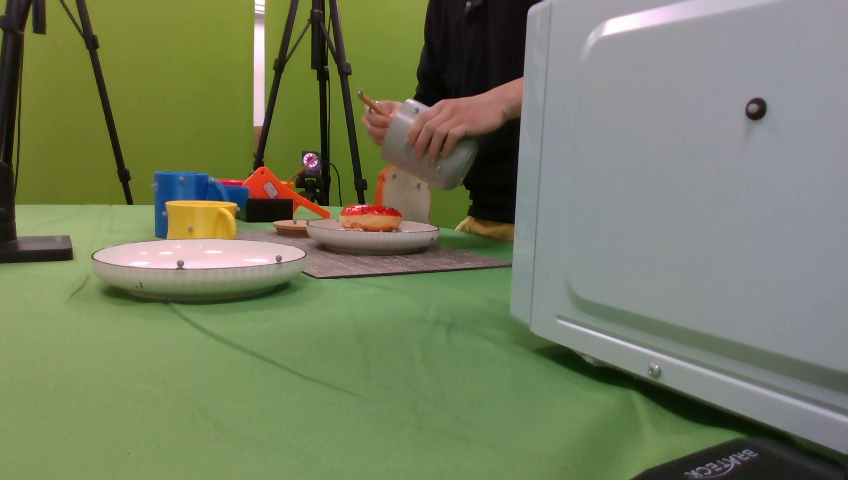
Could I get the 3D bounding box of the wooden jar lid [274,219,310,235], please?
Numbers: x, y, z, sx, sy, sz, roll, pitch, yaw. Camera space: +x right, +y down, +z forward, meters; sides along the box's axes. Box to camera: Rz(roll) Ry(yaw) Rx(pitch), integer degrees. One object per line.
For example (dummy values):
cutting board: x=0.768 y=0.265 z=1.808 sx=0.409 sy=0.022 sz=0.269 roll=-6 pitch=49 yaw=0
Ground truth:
wooden jar lid: x=-0.213 y=-0.023 z=1.080 sx=0.108 sy=0.020 sz=0.108 roll=3 pitch=7 yaw=0

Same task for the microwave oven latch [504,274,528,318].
microwave oven latch: x=0.100 y=0.041 z=0.471 sx=0.079 sy=0.029 sz=0.030 roll=-1 pitch=8 yaw=-28

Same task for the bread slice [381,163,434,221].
bread slice: x=-0.034 y=-0.076 z=1.124 sx=0.107 sy=0.134 sz=0.018 roll=-4 pitch=1 yaw=-25

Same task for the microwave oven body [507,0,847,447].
microwave oven body: x=0.331 y=-0.042 z=0.425 sx=0.444 sy=0.260 sz=0.324 roll=-2 pitch=8 yaw=-31

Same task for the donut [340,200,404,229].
donut: x=-0.081 y=-0.038 z=0.944 sx=0.099 sy=0.048 sz=0.099 roll=1 pitch=4 yaw=0

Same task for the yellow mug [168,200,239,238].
yellow mug: x=-0.319 y=-0.023 z=0.904 sx=0.130 sy=0.064 sz=0.100 roll=9 pitch=11 yaw=36

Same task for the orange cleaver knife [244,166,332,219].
orange cleaver knife: x=-0.301 y=-0.089 z=1.351 sx=0.212 sy=0.077 sz=0.012 roll=32 pitch=-11 yaw=-34

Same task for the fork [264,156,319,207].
fork: x=-0.331 y=-0.144 z=1.506 sx=0.207 sy=0.018 sz=0.028 roll=-42 pitch=-20 yaw=22

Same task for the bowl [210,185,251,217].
bowl: x=-0.408 y=-0.064 z=1.155 sx=0.151 sy=0.077 sz=0.151 roll=2 pitch=8 yaw=0

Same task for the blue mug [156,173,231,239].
blue mug: x=-0.381 y=-0.057 z=1.004 sx=0.117 sy=0.106 sz=0.082 roll=0 pitch=8 yaw=-12

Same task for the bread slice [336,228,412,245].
bread slice: x=-0.074 y=-0.006 z=0.938 sx=0.105 sy=0.019 sz=0.131 roll=-2 pitch=5 yaw=-18

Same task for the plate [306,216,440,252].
plate: x=-0.079 y=-0.011 z=0.950 sx=0.209 sy=0.038 sz=0.209 roll=2 pitch=8 yaw=0

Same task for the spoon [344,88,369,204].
spoon: x=-0.098 y=-0.137 z=0.940 sx=0.042 sy=0.193 sz=0.021 roll=2 pitch=15 yaw=-24

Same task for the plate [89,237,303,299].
plate: x=-0.233 y=0.029 z=0.637 sx=0.208 sy=0.039 sz=0.207 roll=2 pitch=7 yaw=0

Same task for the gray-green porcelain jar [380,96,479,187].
gray-green porcelain jar: x=0.013 y=-0.149 z=0.933 sx=0.126 sy=0.105 sz=0.106 roll=27 pitch=12 yaw=8

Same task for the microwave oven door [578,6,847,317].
microwave oven door: x=0.294 y=-0.067 z=0.570 sx=0.358 sy=0.243 sz=0.039 roll=-3 pitch=9 yaw=-31
